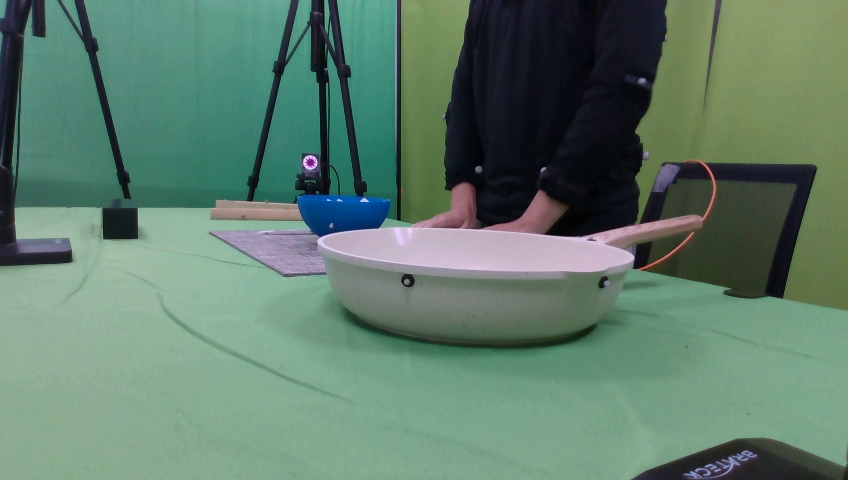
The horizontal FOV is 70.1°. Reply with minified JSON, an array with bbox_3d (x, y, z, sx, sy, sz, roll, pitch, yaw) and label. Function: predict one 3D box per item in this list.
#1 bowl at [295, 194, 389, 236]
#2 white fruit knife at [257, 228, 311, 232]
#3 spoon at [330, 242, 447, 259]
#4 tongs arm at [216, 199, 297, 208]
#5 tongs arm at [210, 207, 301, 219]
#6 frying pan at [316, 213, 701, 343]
[{"bbox_3d":[-0.132,-0.032,0.980,0.151,0.077,0.151,2,7,0],"label":"bowl"},{"bbox_3d":[-0.202,-0.021,1.116,0.208,0.016,0.027,-2,-1,-25],"label":"white fruit knife"},{"bbox_3d":[-0.046,0.011,0.883,0.195,0.021,0.041,-4,24,-30],"label":"spoon"},{"bbox_3d":[-0.307,-0.076,1.470,0.386,0.026,0.050,2,8,-11],"label":"tongs arm"},{"bbox_3d":[-0.287,-0.062,1.392,0.389,0.028,0.028,-1,5,-23],"label":"tongs arm"},{"bbox_3d":[0.133,0.013,0.629,0.490,0.102,0.305,-12,14,-30],"label":"frying pan"}]
